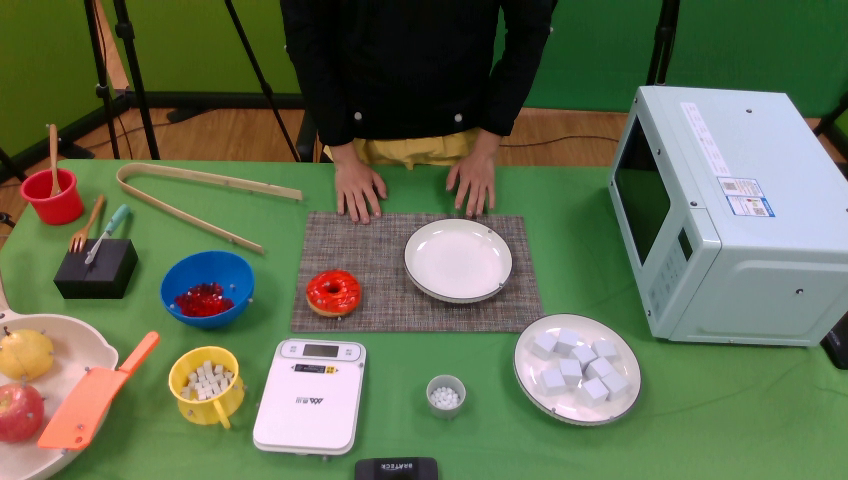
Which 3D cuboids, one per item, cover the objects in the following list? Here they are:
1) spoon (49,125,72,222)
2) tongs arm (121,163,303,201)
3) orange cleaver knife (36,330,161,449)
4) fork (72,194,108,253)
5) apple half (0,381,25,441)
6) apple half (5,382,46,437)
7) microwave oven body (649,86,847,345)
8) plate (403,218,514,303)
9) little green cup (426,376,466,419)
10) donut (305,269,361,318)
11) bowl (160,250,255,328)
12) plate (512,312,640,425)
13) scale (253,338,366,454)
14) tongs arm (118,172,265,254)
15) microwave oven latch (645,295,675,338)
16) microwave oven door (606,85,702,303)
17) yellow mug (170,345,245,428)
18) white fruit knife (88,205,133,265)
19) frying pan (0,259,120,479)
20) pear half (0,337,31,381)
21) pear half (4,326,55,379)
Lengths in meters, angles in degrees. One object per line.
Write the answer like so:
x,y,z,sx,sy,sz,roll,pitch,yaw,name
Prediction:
-0.718,-0.131,1.189,0.041,0.021,0.193,-4,90,-6,spoon
-0.444,-0.114,1.266,0.384,0.026,0.050,12,51,7,tongs arm
-0.466,0.210,0.880,0.077,0.012,0.210,15,46,9,orange cleaver knife
-0.634,-0.036,1.158,0.028,0.019,0.206,-8,31,-8,fork
-0.605,0.250,0.871,0.053,0.075,0.080,-9,51,-7,apple half
-0.567,0.244,0.877,0.033,0.082,0.080,-9,47,-7,apple half
0.567,-0.053,1.118,0.326,0.261,0.439,2,45,-1,microwave oven body
0.064,0.042,1.146,0.209,0.038,0.208,2,46,-2,plate
0.033,0.248,0.950,0.061,0.039,0.061,2,46,-2,little green cup
-0.160,0.094,1.075,0.099,0.048,0.098,3,45,-3,donut
-0.362,0.098,1.040,0.151,0.077,0.150,2,45,-2,bowl
0.246,0.213,0.999,0.208,0.039,0.206,2,46,-2,plate
-0.175,0.236,0.951,0.149,0.032,0.199,4,45,0,scale
-0.473,-0.054,1.211,0.386,0.028,0.028,23,57,17,tongs arm
0.412,0.134,1.061,0.030,0.029,0.078,3,45,0,microwave oven latch
0.422,-0.094,1.140,0.039,0.245,0.353,2,46,-1,microwave oven door
-0.322,0.230,0.922,0.100,0.064,0.130,-24,53,-25,yellow mug
-0.584,-0.013,1.129,0.016,0.027,0.206,0,32,-5,white fruit knife
-0.647,0.164,0.936,0.307,0.103,0.485,-19,58,-22,frying pan
-0.632,0.185,0.920,0.070,0.088,0.031,30,49,20,pear half
-0.609,0.159,0.933,0.076,0.110,0.056,32,52,20,pear half
